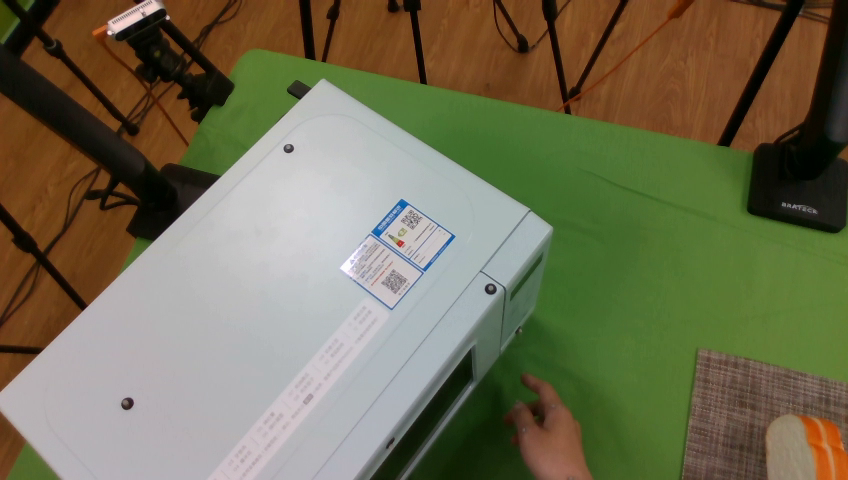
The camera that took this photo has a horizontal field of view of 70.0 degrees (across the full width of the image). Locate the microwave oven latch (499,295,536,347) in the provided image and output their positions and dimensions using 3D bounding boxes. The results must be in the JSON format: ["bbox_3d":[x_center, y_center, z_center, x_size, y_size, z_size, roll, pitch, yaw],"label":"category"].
[{"bbox_3d":[0.106,0.093,0.748,0.030,0.030,0.079,36,74,18],"label":"microwave oven latch"}]

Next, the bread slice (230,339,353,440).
[{"bbox_3d":[-0.152,0.178,0.695,0.134,0.018,0.106,-10,63,-11],"label":"bread slice"}]

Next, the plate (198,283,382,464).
[{"bbox_3d":[-0.151,0.152,0.700,0.208,0.039,0.206,0,63,1],"label":"plate"}]

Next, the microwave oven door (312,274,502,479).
[{"bbox_3d":[-0.041,0.209,0.596,0.039,0.246,0.355,34,73,19],"label":"microwave oven door"}]

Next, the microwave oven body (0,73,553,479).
[{"bbox_3d":[-0.128,0.102,0.658,0.324,0.262,0.441,35,74,18],"label":"microwave oven body"}]
